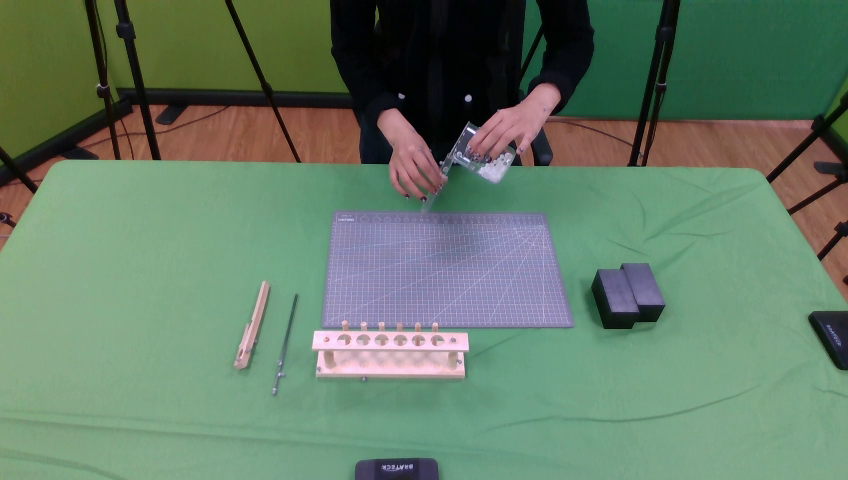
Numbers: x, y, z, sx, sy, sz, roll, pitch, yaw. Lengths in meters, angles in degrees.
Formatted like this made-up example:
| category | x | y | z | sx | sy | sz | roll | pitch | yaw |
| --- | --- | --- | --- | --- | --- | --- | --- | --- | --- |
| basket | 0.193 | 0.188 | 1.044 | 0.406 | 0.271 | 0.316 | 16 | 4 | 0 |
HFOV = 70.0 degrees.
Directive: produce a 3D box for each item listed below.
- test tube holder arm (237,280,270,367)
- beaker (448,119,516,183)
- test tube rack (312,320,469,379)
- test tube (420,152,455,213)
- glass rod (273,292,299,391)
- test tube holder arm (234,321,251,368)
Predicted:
| category | x | y | z | sx | sy | sz | roll | pitch | yaw |
| --- | --- | --- | --- | --- | --- | --- | --- | --- | --- |
| test tube holder arm | -0.290 | 0.139 | 1.042 | 0.013 | 0.015 | 0.177 | -16 | 42 | 22 |
| beaker | 0.101 | -0.149 | 1.049 | 0.100 | 0.084 | 0.073 | 30 | 53 | -2 |
| test tube rack | -0.054 | 0.173 | 0.984 | 0.242 | 0.085 | 0.066 | 1 | 46 | -3 |
| test tube | 0.024 | -0.104 | 1.128 | 0.017 | 0.150 | 0.017 | 14 | 45 | -14 |
| glass rod | -0.233 | 0.167 | 1.030 | 0.008 | 0.008 | 0.198 | 3 | 46 | 0 |
| test tube holder arm | -0.299 | 0.173 | 1.013 | 0.010 | 0.015 | 0.087 | -16 | 42 | 22 |
